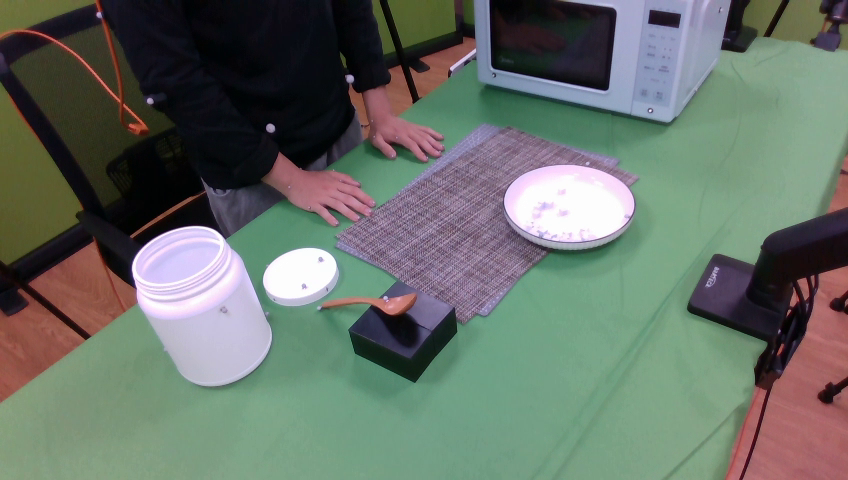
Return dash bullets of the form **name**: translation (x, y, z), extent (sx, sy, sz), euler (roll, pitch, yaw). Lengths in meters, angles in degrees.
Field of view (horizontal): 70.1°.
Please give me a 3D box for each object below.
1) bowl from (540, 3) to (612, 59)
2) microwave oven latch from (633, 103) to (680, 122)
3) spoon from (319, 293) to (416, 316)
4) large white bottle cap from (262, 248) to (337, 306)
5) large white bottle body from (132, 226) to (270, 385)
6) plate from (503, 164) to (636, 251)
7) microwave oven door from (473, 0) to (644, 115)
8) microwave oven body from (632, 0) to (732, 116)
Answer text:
- **bowl**: translation (0.323, -0.441, 1.298), extent (0.151, 0.077, 0.150), euler (-4, 41, 4)
- **microwave oven latch**: translation (0.444, -0.249, 1.157), extent (0.078, 0.029, 0.030), euler (21, 48, 30)
- **spoon**: translation (-0.082, 0.086, 0.826), extent (0.192, 0.022, 0.041), euler (-3, 36, 41)
- **large white bottle cap**: translation (-0.192, 0.056, 0.934), extent (0.115, 0.018, 0.114), euler (-4, 41, 4)
- **large white bottle body**: translation (-0.286, 0.085, 0.784), extent (0.130, 0.185, 0.130), euler (-4, 41, 4)
- **plate**: translation (0.232, -0.051, 0.976), extent (0.209, 0.038, 0.208), euler (-3, 41, 3)
- **microwave oven door**: translation (0.257, -0.396, 1.199), extent (0.353, 0.245, 0.039), euler (21, 48, 29)
- **microwave oven body**: translation (0.377, -0.462, 1.267), extent (0.438, 0.261, 0.327), euler (21, 48, 30)
